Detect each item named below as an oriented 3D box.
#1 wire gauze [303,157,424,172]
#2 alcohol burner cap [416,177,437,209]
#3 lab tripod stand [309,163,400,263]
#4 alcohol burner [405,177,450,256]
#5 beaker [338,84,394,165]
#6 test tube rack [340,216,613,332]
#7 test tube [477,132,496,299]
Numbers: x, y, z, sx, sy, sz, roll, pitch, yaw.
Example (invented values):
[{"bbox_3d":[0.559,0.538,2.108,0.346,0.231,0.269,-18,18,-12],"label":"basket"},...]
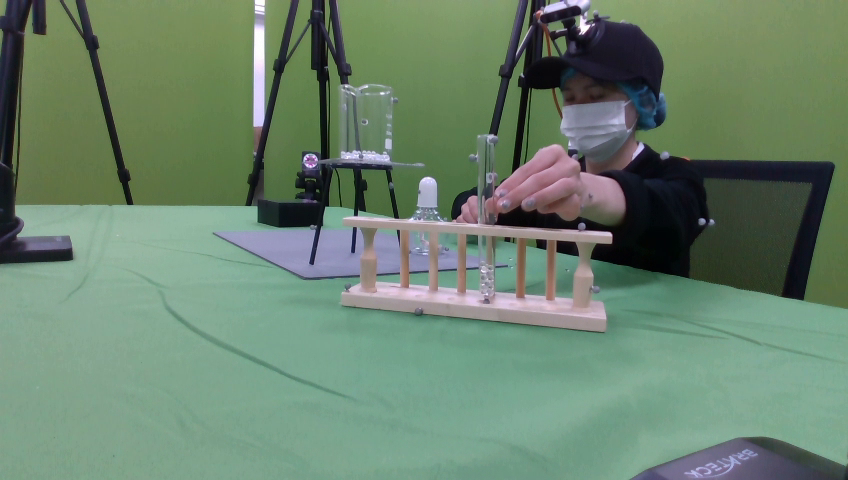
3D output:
[{"bbox_3d":[-0.082,-0.101,0.799,0.126,0.011,0.121,1,7,-30],"label":"wire gauze"},{"bbox_3d":[0.005,-0.072,0.914,0.034,0.048,0.034,4,10,0],"label":"alcohol burner cap"},{"bbox_3d":[-0.091,-0.037,0.813,0.148,0.131,0.148,1,6,0],"label":"lab tripod stand"},{"bbox_3d":[0.004,-0.036,0.917,0.078,0.119,0.078,3,5,0],"label":"alcohol burner"},{"bbox_3d":[-0.077,-0.149,0.792,0.074,0.100,0.084,2,6,9],"label":"beaker"},{"bbox_3d":[0.047,0.026,0.568,0.242,0.085,0.067,4,7,13],"label":"test tube rack"},{"bbox_3d":[0.056,-0.020,0.540,0.017,0.150,0.017,-1,11,1],"label":"test tube"}]
